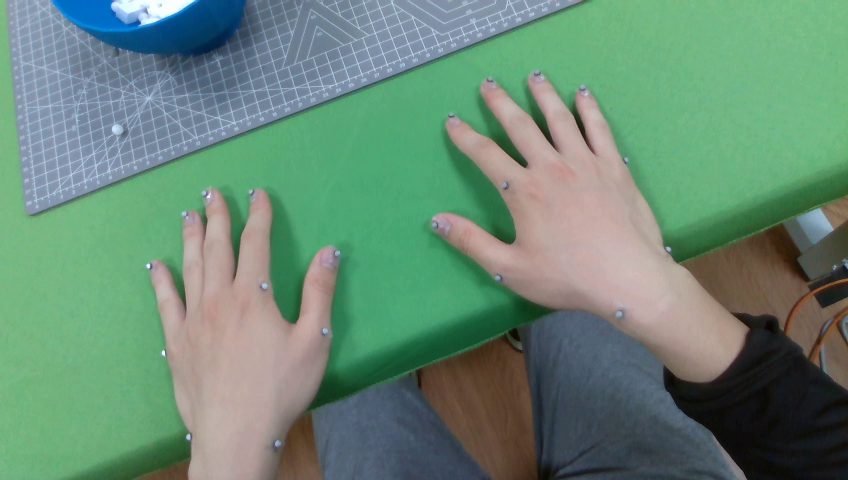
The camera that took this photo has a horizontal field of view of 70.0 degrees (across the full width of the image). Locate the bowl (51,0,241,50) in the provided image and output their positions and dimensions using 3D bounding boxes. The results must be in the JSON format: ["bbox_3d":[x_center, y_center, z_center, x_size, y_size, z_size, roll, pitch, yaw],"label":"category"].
[{"bbox_3d":[-0.188,-0.196,0.447,0.151,0.077,0.150,-3,71,8],"label":"bowl"}]
